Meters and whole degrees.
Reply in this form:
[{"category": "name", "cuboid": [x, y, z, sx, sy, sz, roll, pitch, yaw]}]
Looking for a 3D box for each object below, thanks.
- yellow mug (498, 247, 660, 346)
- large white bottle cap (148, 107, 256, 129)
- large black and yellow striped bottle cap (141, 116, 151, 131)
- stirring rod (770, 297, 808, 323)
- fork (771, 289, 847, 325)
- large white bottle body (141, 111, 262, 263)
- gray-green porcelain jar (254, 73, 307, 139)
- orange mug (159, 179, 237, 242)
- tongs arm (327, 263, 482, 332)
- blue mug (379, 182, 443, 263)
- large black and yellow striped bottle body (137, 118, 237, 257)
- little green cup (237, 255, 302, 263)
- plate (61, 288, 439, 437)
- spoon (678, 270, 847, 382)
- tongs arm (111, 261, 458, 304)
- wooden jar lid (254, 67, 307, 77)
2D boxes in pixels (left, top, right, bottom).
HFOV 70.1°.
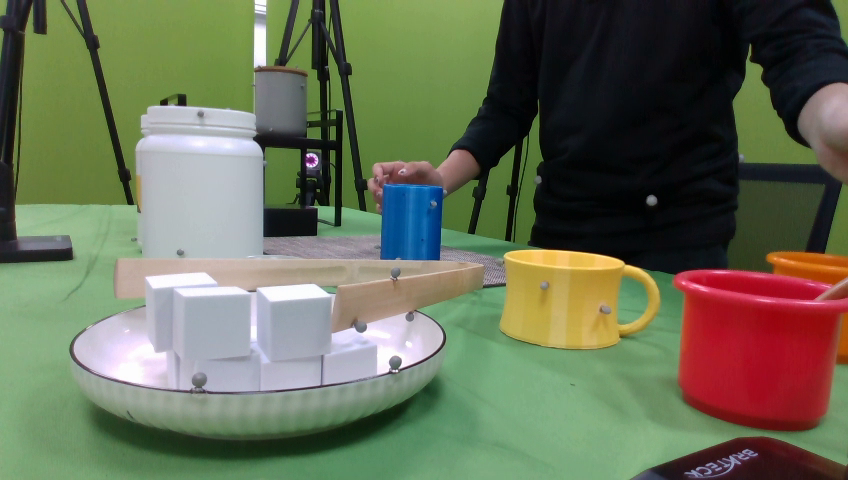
[{"category": "yellow mug", "cuboid": [0.130, 0.045, 0.508, 0.131, 0.064, 0.100, 4, 7, 6]}, {"category": "large white bottle cap", "cuboid": [-0.250, -0.137, 0.686, 0.115, 0.018, 0.115, 3, 8, 0]}, {"category": "large black and yellow striped bottle cap", "cuboid": [-0.329, -0.158, 0.837, 0.115, 0.019, 0.115, 2, 6, 0]}, {"category": "stirring rod", "cuboid": [0.351, 0.020, 0.470, 0.175, 0.006, 0.014, -43, -17, 33]}, {"category": "fork", "cuboid": [0.337, 0.018, 0.444, 0.028, 0.018, 0.207, -4, -34, -22]}, {"category": "large white bottle body", "cuboid": [-0.254, -0.053, 0.697, 0.131, 0.184, 0.130, 2, 7, 0]}, {"category": "gray-green porcelain jar", "cuboid": [-0.298, -0.277, 1.259, 0.106, 0.126, 0.106, 3, 8, 0]}, {"category": "orange mug", "cuboid": [-0.368, -0.051, 0.991, 0.127, 0.101, 0.083, -10, 14, -41]}, {"category": "tongs arm", "cuboid": [-0.003, 0.036, 0.493, 0.050, 0.026, 0.386, 1, 0, 19]}, {"category": "blue mug", "cuboid": [-0.020, -0.025, 0.833, 0.082, 0.106, 0.116, 1, 7, -6]}, {"category": "large black and yellow striped bottle body", "cuboid": [-0.330, -0.075, 0.849, 0.131, 0.184, 0.130, 2, 8, 0]}, {"category": "little green cup", "cuboid": [-0.150, 0.038, 0.590, 0.061, 0.038, 0.061, 3, 6, 0]}, {"category": "plate", "cuboid": [-0.095, 0.069, 0.362, 0.208, 0.039, 0.207, 3, 7, 0]}, {"category": "spoon", "cuboid": [0.229, 0.031, 0.338, 0.193, 0.021, 0.042, -44, -17, 27]}, {"category": "tongs arm", "cuboid": [-0.080, 0.032, 0.527, 0.028, 0.027, 0.389, -3, -3, 33]}, {"category": "wooden jar lid", "cuboid": [-0.296, -0.339, 1.250, 0.108, 0.020, 0.108, 1, 7, 0]}]
